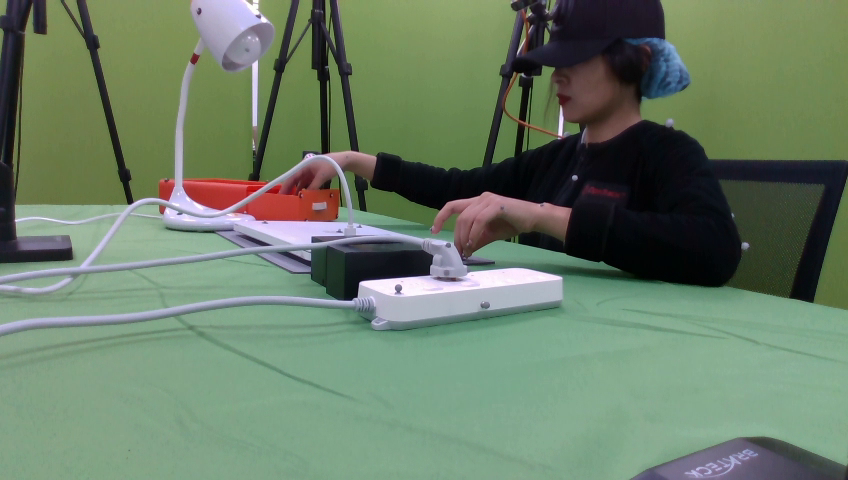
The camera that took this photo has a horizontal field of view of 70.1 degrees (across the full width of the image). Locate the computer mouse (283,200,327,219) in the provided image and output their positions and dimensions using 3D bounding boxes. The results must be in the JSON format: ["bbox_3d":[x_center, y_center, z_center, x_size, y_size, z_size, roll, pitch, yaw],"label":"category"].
[{"bbox_3d":[-0.253,-0.064,1.292,0.063,0.041,0.117,-1,0,9],"label":"computer mouse"}]

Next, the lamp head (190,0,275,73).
[{"bbox_3d":[-0.331,-0.355,1.008,0.123,0.112,0.112,43,15,6],"label":"lamp head"}]

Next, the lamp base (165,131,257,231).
[{"bbox_3d":[-0.407,-0.112,1.119,0.179,0.180,0.161,-1,7,7],"label":"lamp base"}]

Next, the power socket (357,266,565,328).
[{"bbox_3d":[0.041,0.049,0.572,0.228,0.032,0.072,-3,8,-35],"label":"power socket"}]

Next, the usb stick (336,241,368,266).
[{"bbox_3d":[-0.093,0.016,0.748,0.021,0.027,0.059,-4,5,-36],"label":"usb stick"}]

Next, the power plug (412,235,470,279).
[{"bbox_3d":[0.017,0.023,0.588,0.035,0.052,0.072,-1,8,-24],"label":"power plug"}]

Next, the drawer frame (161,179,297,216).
[{"bbox_3d":[-0.421,-0.089,1.329,0.213,0.082,0.202,4,8,16],"label":"drawer frame"}]

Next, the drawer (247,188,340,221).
[{"bbox_3d":[-0.314,-0.079,1.301,0.211,0.073,0.195,4,9,15],"label":"drawer"}]

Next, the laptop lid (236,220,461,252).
[{"bbox_3d":[-0.133,-0.010,0.949,0.243,0.013,0.355,0,7,-32],"label":"laptop lid"}]

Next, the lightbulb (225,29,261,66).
[{"bbox_3d":[-0.317,-0.336,1.001,0.107,0.059,0.059,47,16,6],"label":"lightbulb"}]

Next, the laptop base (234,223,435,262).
[{"bbox_3d":[-0.135,0.002,0.949,0.237,0.023,0.352,1,6,-33],"label":"laptop base"}]
